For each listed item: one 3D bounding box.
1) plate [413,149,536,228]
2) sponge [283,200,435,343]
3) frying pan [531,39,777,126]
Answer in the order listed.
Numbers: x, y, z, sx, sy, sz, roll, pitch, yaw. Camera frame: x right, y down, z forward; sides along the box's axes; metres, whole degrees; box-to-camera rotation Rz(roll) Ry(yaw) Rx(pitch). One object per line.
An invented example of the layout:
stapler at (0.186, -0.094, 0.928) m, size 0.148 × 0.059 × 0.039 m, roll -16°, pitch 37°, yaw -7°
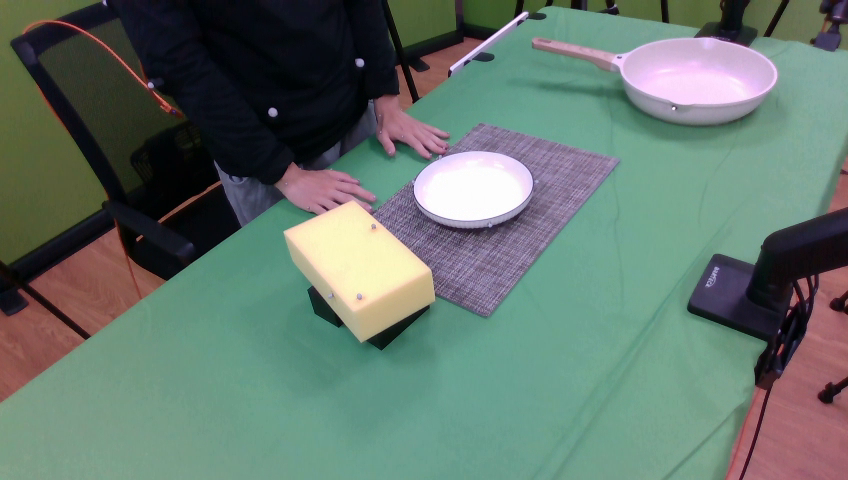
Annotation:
plate at (0.086, -0.085, 1.038) m, size 0.207 × 0.039 × 0.206 m, roll -4°, pitch 40°, yaw 4°
sponge at (-0.094, 0.036, 0.835) m, size 0.119 × 0.061 × 0.205 m, roll -29°, pitch 45°, yaw -23°
frying pan at (0.452, -0.354, 1.254) m, size 0.485 × 0.103 × 0.307 m, roll 22°, pitch 47°, yaw 19°
